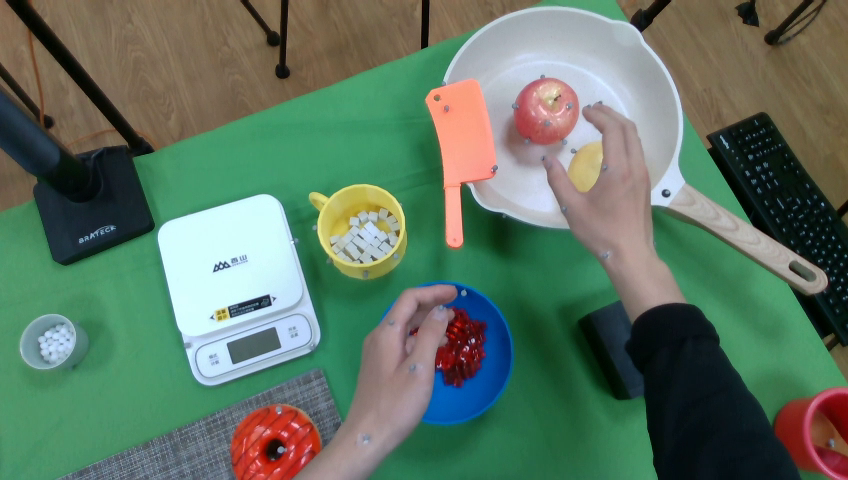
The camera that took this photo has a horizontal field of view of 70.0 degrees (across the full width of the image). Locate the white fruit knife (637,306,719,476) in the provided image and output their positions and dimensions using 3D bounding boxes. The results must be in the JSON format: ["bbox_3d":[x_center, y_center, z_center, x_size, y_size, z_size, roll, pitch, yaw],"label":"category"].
[{"bbox_3d":[0.276,0.167,0.664,0.016,0.027,0.207,-25,91,-7],"label":"white fruit knife"}]

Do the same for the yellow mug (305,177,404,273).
[{"bbox_3d":[-0.087,-0.025,0.714,0.130,0.064,0.100,33,77,8],"label":"yellow mug"}]

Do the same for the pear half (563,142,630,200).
[{"bbox_3d":[0.203,-0.080,0.708,0.076,0.110,0.055,13,75,7],"label":"pear half"}]

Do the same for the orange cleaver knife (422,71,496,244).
[{"bbox_3d":[0.043,-0.100,0.699,0.077,0.012,0.210,-5,76,-2],"label":"orange cleaver knife"}]

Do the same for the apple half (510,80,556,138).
[{"bbox_3d":[0.126,-0.151,0.743,0.033,0.081,0.081,-32,77,-12],"label":"apple half"}]

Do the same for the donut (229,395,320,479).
[{"bbox_3d":[-0.161,0.218,0.655,0.099,0.048,0.098,0,76,1],"label":"donut"}]

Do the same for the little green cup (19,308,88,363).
[{"bbox_3d":[-0.416,0.110,0.686,0.061,0.039,0.061,0,75,-1],"label":"little green cup"}]

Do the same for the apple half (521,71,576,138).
[{"bbox_3d":[0.157,-0.171,0.750,0.053,0.075,0.080,-31,74,-13],"label":"apple half"}]

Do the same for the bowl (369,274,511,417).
[{"bbox_3d":[0.017,0.119,0.672,0.151,0.077,0.150,0,76,-1],"label":"bowl"}]

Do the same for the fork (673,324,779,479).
[{"bbox_3d":[0.337,0.185,0.669,0.028,0.018,0.207,-32,93,-11],"label":"fork"}]

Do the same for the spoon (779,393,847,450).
[{"bbox_3d":[0.451,0.224,0.620,0.041,0.022,0.191,-28,32,-9],"label":"spoon"}]

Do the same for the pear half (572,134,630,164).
[{"bbox_3d":[0.214,-0.111,0.727,0.070,0.088,0.031,12,76,4],"label":"pear half"}]

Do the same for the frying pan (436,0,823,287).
[{"bbox_3d":[0.237,-0.093,0.720,0.485,0.103,0.306,37,78,17],"label":"frying pan"}]

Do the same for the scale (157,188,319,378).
[{"bbox_3d":[-0.219,0.046,0.710,0.149,0.032,0.200,-18,76,-5],"label":"scale"}]
